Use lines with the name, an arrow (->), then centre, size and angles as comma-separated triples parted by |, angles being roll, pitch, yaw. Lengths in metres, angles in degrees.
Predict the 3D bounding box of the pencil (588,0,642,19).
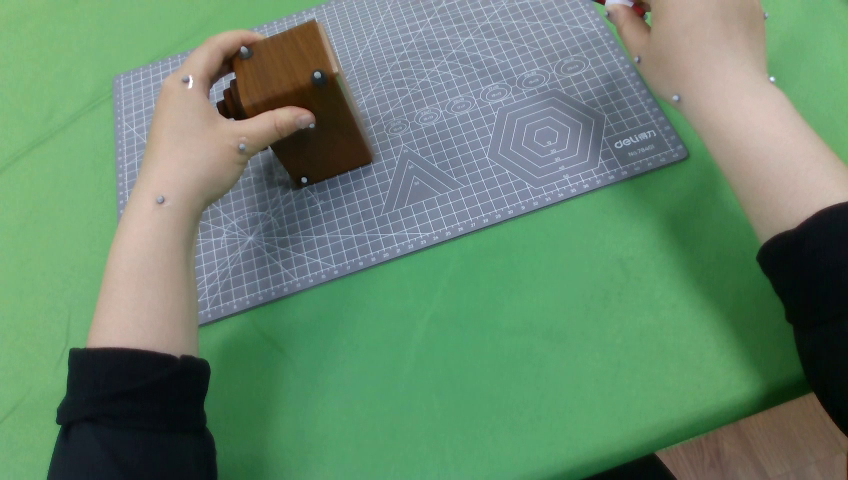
pencil -> 0.079, -0.209, 0.473 | 0.192, 0.012, 0.012 | 30, 72, 22

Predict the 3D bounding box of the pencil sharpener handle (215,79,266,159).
pencil sharpener handle -> -0.144, -0.087, 0.456 | 0.030, 0.068, 0.035 | -21, 59, 0

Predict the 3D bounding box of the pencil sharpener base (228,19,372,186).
pencil sharpener base -> -0.094, -0.100, 0.467 | 0.077, 0.108, 0.061 | -21, 61, 0
